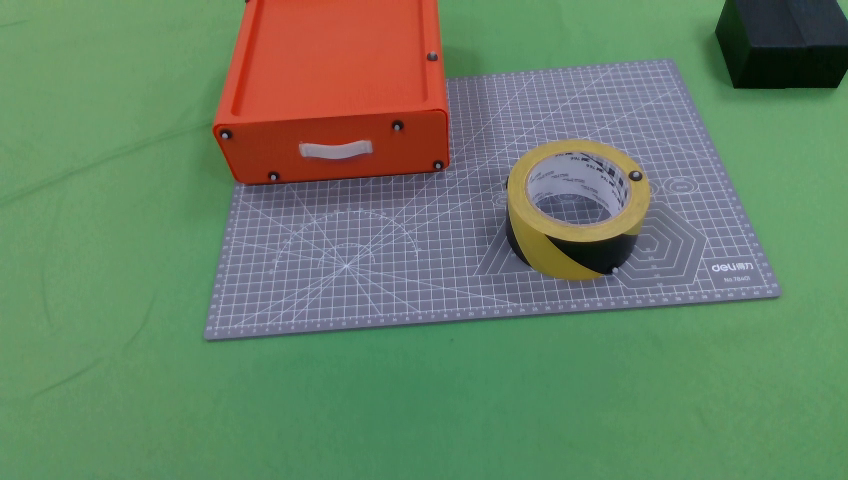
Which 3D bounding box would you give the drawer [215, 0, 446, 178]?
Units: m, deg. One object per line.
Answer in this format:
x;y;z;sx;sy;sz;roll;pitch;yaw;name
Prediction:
-0.081;-0.163;0.592;0.194;0.074;0.209;-4;53;2;drawer

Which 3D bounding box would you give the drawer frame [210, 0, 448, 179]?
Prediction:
-0.083;-0.165;0.593;0.202;0.083;0.211;-5;52;1;drawer frame

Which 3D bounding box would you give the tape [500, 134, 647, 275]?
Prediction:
0.122;-0.030;0.496;0.117;0.053;0.115;-2;53;4;tape
